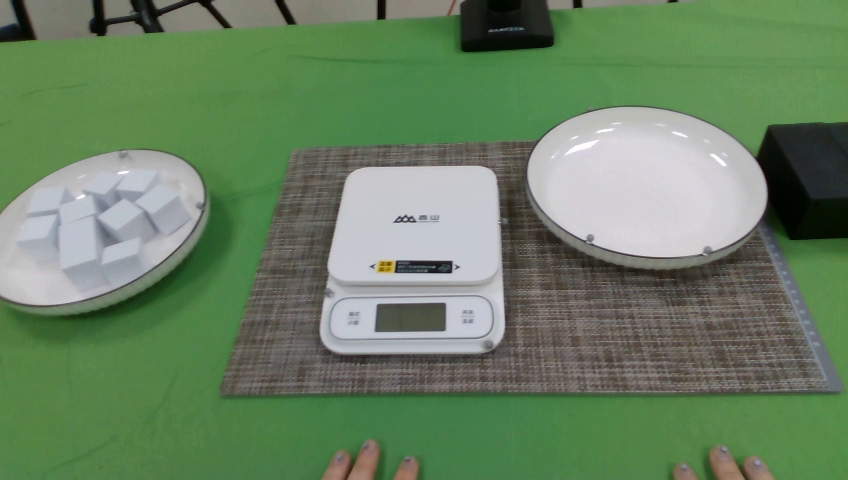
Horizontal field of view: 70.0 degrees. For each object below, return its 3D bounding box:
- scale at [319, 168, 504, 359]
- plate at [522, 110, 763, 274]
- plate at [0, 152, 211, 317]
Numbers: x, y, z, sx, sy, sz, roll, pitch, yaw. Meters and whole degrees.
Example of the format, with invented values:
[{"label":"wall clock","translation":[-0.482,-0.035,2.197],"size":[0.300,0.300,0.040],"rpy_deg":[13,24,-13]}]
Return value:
[{"label":"scale","translation":[-0.007,0.012,0.530],"size":[0.148,0.032,0.199],"rpy_deg":[-1,47,6]},{"label":"plate","translation":[0.195,-0.045,0.559],"size":[0.207,0.039,0.205],"rpy_deg":[-3,47,3]},{"label":"plate","translation":[-0.306,-0.006,0.579],"size":[0.209,0.038,0.207],"rpy_deg":[-3,46,3]}]
